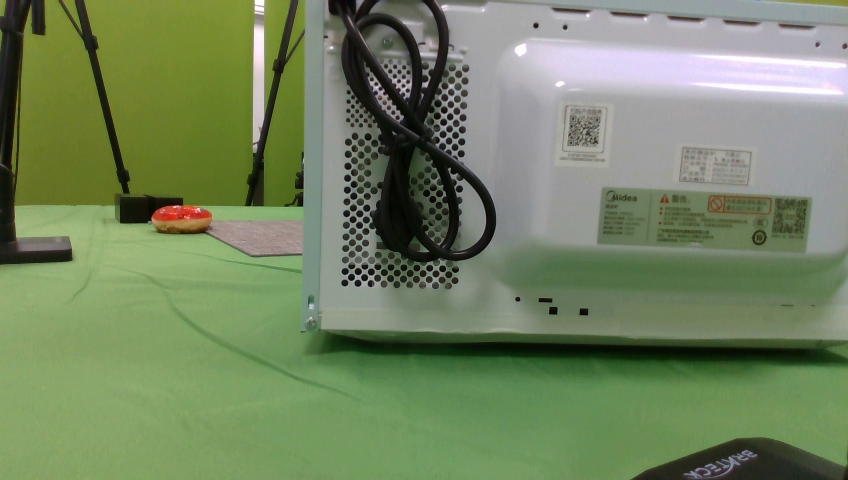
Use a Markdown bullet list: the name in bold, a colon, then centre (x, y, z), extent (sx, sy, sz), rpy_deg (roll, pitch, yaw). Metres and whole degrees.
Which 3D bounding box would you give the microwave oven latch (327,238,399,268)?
- **microwave oven latch**: centre (-0.069, 0.015, 0.694), extent (0.079, 0.029, 0.030), rpy_deg (3, 7, -3)

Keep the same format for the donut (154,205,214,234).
- **donut**: centre (-0.426, -0.037, 1.075), extent (0.099, 0.048, 0.099), rpy_deg (2, 12, 0)

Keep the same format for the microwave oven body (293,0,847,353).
- **microwave oven body**: centre (0.122, -0.055, 0.550), extent (0.442, 0.260, 0.325), rpy_deg (3, 7, -5)

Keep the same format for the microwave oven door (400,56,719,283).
- **microwave oven door**: centre (0.155, -0.077, 0.698), extent (0.356, 0.243, 0.039), rpy_deg (2, 8, -5)
